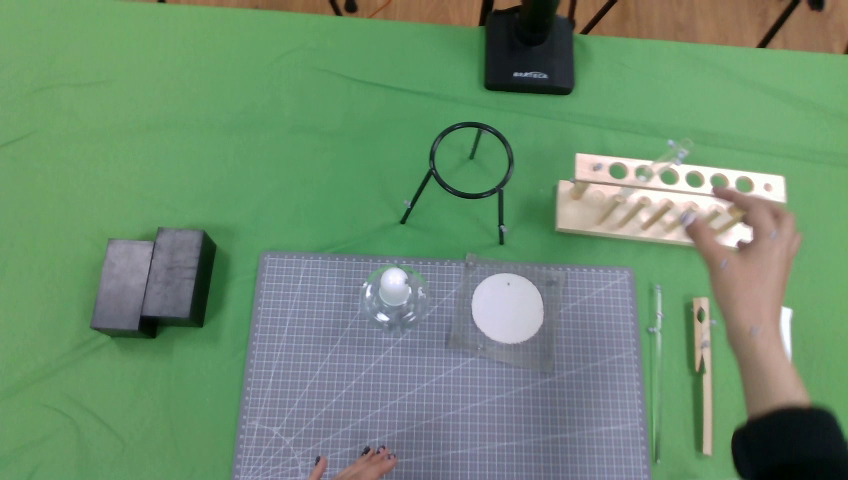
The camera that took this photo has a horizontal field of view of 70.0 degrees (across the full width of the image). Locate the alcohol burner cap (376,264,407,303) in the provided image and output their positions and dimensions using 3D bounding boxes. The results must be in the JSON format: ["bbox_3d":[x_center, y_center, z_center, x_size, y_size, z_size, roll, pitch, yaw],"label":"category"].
[{"bbox_3d":[-0.033,0.042,0.622,0.034,0.048,0.033,2,65,-3],"label":"alcohol burner cap"}]

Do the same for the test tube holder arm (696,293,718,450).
[{"bbox_3d":[0.324,0.148,0.698,0.013,0.015,0.177,-12,66,34],"label":"test tube holder arm"}]

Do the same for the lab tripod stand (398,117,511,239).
[{"bbox_3d":[0.040,-0.066,0.694,0.148,0.132,0.147,1,73,-2],"label":"lab tripod stand"}]

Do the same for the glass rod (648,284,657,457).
[{"bbox_3d":[0.265,0.147,0.701,0.008,0.008,0.198,8,73,-1],"label":"glass rod"}]

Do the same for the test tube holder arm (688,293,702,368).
[{"bbox_3d":[0.322,0.107,0.716,0.010,0.015,0.087,-10,67,34],"label":"test tube holder arm"}]

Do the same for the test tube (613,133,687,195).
[{"bbox_3d":[0.251,-0.082,0.685,0.017,0.150,0.017,2,74,-7],"label":"test tube"}]

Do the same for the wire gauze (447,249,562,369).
[{"bbox_3d":[0.096,0.078,0.712,0.125,0.011,0.121,13,72,0],"label":"wire gauze"}]

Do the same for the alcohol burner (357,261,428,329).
[{"bbox_3d":[-0.035,0.055,0.656,0.078,0.120,0.077,0,71,-1],"label":"alcohol burner"}]

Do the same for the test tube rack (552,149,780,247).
[{"bbox_3d":[0.285,-0.048,0.729,0.242,0.085,0.066,6,71,-1],"label":"test tube rack"}]

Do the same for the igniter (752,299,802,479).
[{"bbox_3d":[0.395,0.202,0.681,0.057,0.025,0.275,13,71,-10],"label":"igniter"}]

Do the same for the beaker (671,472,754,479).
[{"bbox_3d":[0.290,0.272,0.614,0.083,0.101,0.074,33,72,9],"label":"beaker"}]
